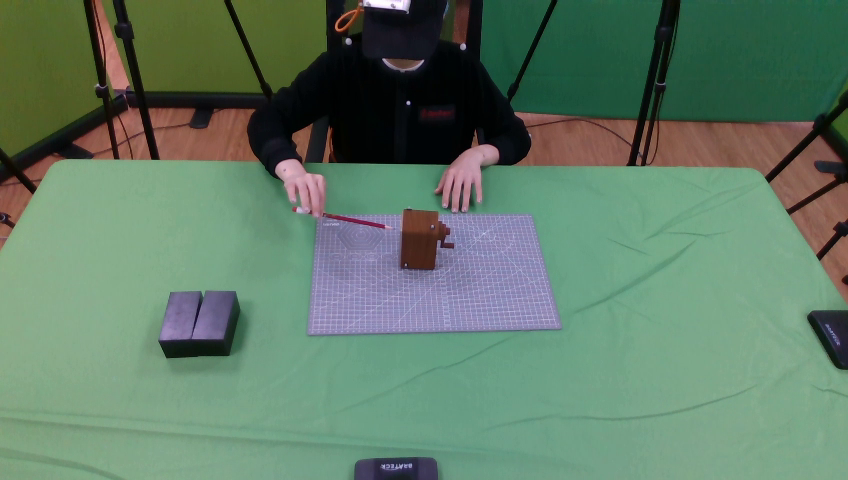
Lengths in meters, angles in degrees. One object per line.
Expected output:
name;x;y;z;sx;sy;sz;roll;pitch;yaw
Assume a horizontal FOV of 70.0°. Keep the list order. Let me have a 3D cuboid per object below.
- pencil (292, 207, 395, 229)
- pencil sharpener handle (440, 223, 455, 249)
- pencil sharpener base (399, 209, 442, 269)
pencil;-0.148;-0.039;1.112;0.194;0.012;0.012;11;46;4
pencil sharpener handle;0.045;-0.007;1.128;0.030;0.068;0.036;3;52;-1
pencil sharpener base;-0.007;0.000;1.134;0.077;0.107;0.061;3;45;-1
